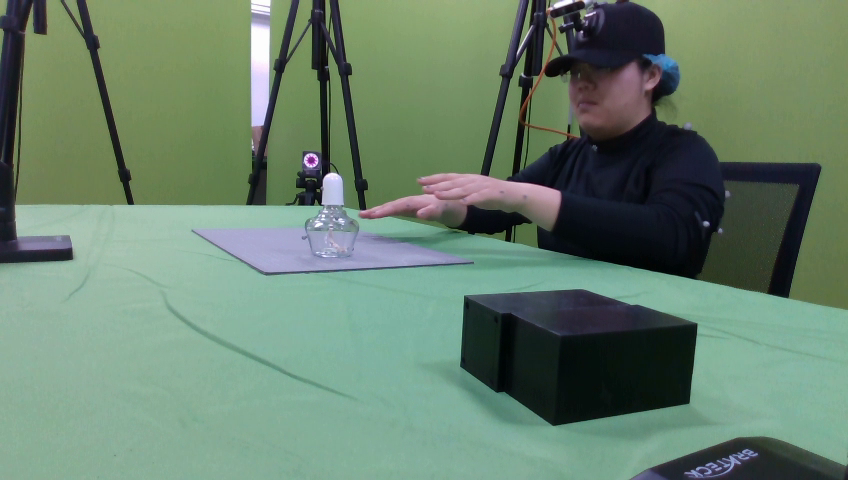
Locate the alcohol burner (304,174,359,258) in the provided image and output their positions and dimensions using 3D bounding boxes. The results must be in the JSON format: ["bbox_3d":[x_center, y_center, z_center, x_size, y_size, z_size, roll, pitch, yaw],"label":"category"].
[{"bbox_3d":[-0.130,-0.035,0.851,0.078,0.119,0.078,2,5,0],"label":"alcohol burner"}]

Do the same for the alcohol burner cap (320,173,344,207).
[{"bbox_3d":[-0.129,-0.071,0.848,0.034,0.048,0.034,1,2,0],"label":"alcohol burner cap"}]
